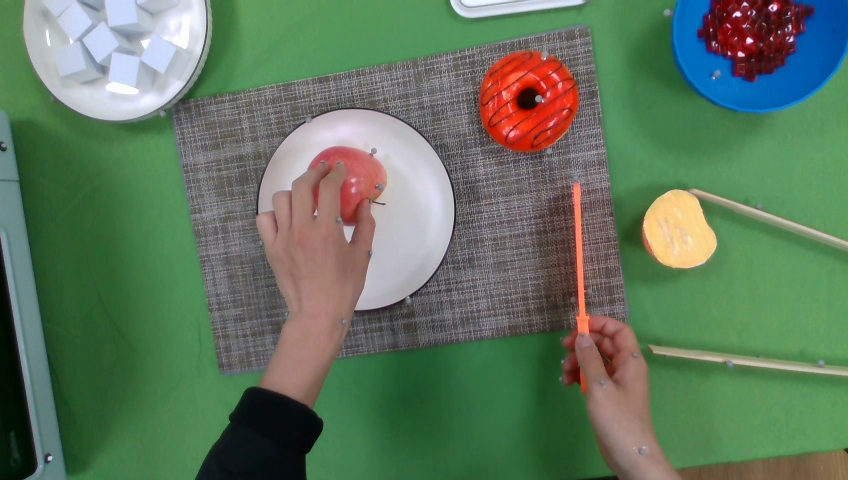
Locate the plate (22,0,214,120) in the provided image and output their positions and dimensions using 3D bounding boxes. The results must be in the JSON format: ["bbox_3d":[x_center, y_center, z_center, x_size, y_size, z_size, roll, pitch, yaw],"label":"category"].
[{"bbox_3d":[-0.319,-0.231,0.643,0.207,0.039,0.208,0,95,6],"label":"plate"}]

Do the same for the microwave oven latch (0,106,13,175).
[{"bbox_3d":[-0.470,-0.110,0.653,0.030,0.029,0.079,-4,95,6],"label":"microwave oven latch"}]

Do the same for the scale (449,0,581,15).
[{"bbox_3d":[0.090,-0.332,0.591,0.148,0.031,0.201,-4,95,7],"label":"scale"}]

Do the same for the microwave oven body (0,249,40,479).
[{"bbox_3d":[-0.607,0.089,0.589,0.326,0.260,0.442,-6,95,6],"label":"microwave oven body"}]

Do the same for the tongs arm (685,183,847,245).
[{"bbox_3d":[0.437,0.020,0.587,0.387,0.028,0.028,22,89,3],"label":"tongs arm"}]

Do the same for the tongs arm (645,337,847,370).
[{"bbox_3d":[0.419,0.105,0.594,0.384,0.026,0.051,7,92,5],"label":"tongs arm"}]

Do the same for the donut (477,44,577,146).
[{"bbox_3d":[0.100,-0.142,0.598,0.099,0.048,0.099,1,96,8],"label":"donut"}]

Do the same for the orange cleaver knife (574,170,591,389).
[{"bbox_3d":[0.154,0.036,0.592,0.012,0.077,0.211,-3,94,15],"label":"orange cleaver knife"}]

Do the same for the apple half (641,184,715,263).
[{"bbox_3d":[0.243,-0.012,0.599,0.081,0.033,0.081,3,77,-14],"label":"apple half"}]

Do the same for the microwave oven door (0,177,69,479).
[{"bbox_3d":[-0.459,0.116,0.570,0.039,0.244,0.356,-6,94,7],"label":"microwave oven door"}]

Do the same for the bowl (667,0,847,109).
[{"bbox_3d":[0.293,-0.192,0.558,0.151,0.077,0.151,1,96,6],"label":"bowl"}]

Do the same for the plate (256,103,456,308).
[{"bbox_3d":[-0.069,-0.035,0.630,0.209,0.038,0.209,0,95,6],"label":"plate"}]

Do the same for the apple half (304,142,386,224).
[{"bbox_3d":[-0.085,-0.062,0.606,0.074,0.054,0.081,40,97,23],"label":"apple half"}]
